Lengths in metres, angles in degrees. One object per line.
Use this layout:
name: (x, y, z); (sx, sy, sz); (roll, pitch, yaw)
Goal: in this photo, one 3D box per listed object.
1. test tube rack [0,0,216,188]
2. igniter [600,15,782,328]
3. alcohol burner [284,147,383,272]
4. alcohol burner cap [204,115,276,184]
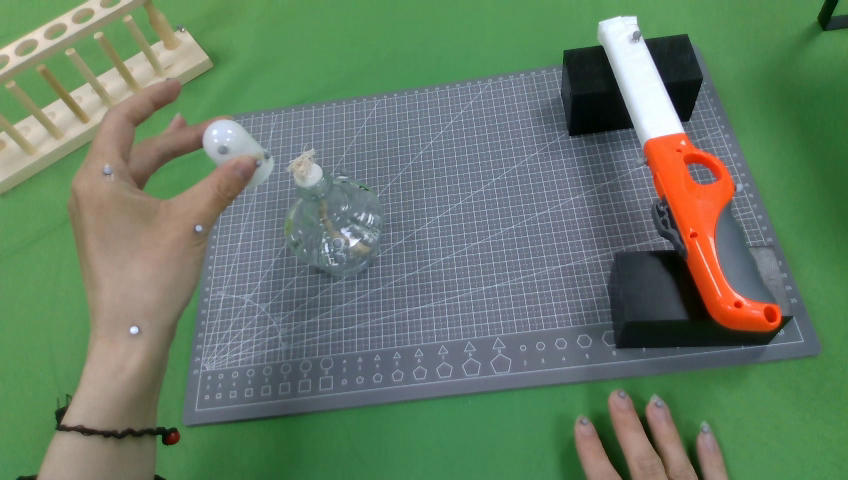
test tube rack: (-0.338, -0.160, 0.589); (0.242, 0.086, 0.066); (-35, 61, -11)
igniter: (0.176, -0.063, 0.426); (0.057, 0.025, 0.274); (-11, 58, 4)
alcohol burner: (-0.072, -0.026, 0.451); (0.078, 0.120, 0.077); (-5, 58, 8)
alcohol burner cap: (-0.120, -0.061, 0.389); (0.034, 0.048, 0.033); (-5, 66, 12)
